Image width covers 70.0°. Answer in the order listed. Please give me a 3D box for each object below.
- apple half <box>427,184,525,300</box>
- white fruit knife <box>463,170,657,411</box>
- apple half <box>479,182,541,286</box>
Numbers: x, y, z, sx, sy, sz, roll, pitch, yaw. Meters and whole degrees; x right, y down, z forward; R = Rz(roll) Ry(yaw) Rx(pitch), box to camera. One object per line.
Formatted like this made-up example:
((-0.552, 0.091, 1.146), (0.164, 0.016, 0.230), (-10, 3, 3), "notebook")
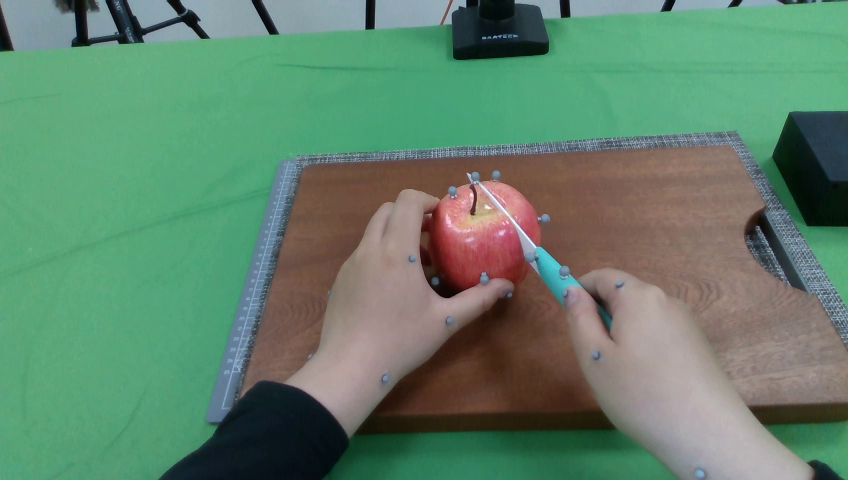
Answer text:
((0.030, 0.007, 0.434), (0.053, 0.075, 0.080), (-25, 51, -13), "apple half")
((0.076, 0.018, 0.386), (0.016, 0.028, 0.205), (-24, 52, -16), "white fruit knife")
((0.066, -0.007, 0.444), (0.033, 0.082, 0.080), (-24, 47, -15), "apple half")
